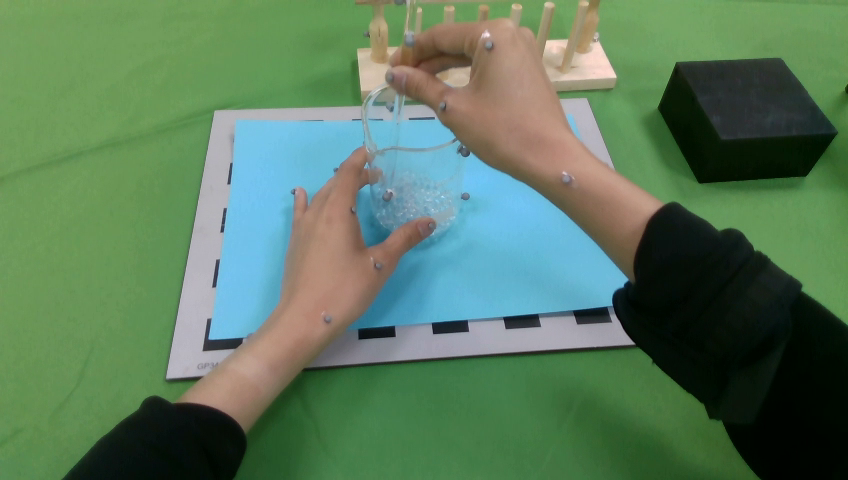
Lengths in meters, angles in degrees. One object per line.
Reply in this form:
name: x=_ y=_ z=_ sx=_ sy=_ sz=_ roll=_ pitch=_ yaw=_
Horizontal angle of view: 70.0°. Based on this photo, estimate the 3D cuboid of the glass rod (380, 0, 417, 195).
glass rod: x=-0.018 y=-0.093 z=0.393 sx=0.008 sy=0.201 sz=0.008 roll=5 pitch=54 yaw=-7

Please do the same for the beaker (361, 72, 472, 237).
beaker: x=-0.009 y=-0.055 z=0.436 sx=0.073 sy=0.101 sz=0.084 roll=35 pitch=58 yaw=23

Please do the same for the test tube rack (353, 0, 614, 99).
test tube rack: x=0.058 y=-0.191 z=0.559 sx=0.243 sy=0.086 sz=0.066 roll=-4 pitch=52 yaw=-6
